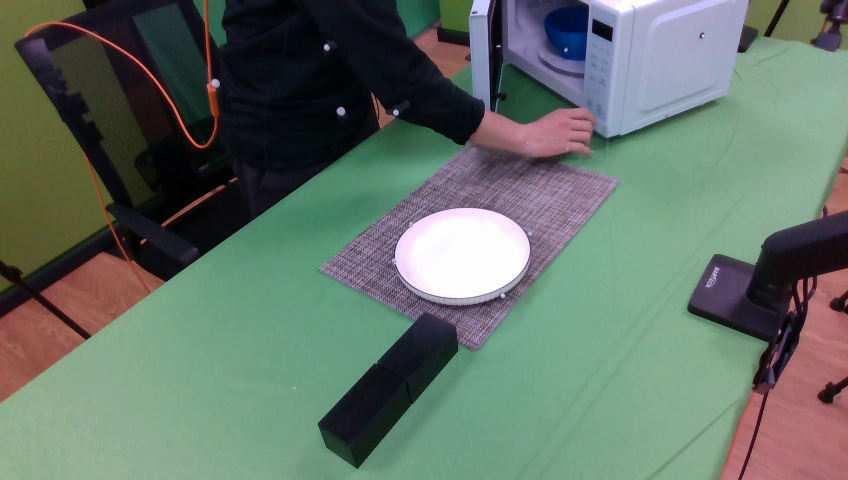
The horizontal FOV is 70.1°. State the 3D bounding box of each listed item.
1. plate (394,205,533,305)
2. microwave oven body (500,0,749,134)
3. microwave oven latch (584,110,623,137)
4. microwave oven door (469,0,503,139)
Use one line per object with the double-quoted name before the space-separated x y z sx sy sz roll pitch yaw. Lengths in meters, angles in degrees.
"plate" 0.059 0.025 0.915 0.207 0.039 0.206 -4 41 4
"microwave oven body" 0.382 -0.444 1.246 0.327 0.261 0.437 -22 42 -16
"microwave oven latch" 0.337 -0.222 1.142 0.030 0.029 0.078 -20 42 -14
"microwave oven door" 0.130 -0.403 1.225 0.039 0.245 0.354 2 41 10
